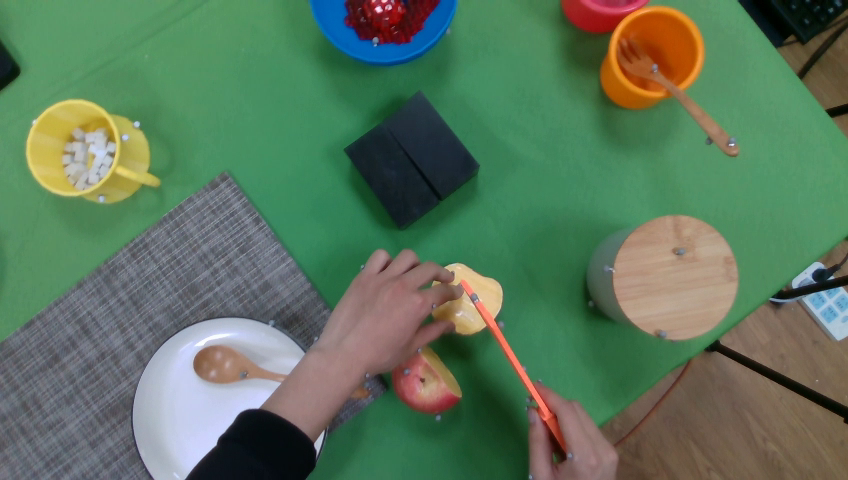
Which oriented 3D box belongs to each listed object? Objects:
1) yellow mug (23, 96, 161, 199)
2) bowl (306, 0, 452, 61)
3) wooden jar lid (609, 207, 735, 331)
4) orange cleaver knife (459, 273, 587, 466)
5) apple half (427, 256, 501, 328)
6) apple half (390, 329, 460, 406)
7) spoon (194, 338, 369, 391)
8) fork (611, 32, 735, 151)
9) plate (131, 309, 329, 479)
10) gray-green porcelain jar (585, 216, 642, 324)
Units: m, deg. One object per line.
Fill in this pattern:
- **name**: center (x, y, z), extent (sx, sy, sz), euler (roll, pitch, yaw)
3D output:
- **yellow mug**: center (-0.345, -0.091, 0.648), extent (0.131, 0.064, 0.100), euler (24, 89, 1)
- **bowl**: center (-0.042, -0.253, 0.633), extent (0.151, 0.077, 0.151), euler (0, 89, 2)
- **wooden jar lid**: center (0.215, 0.026, 0.532), extent (0.108, 0.020, 0.108), euler (0, 91, 1)
- **orange cleaver knife**: center (0.091, 0.119, 0.554), extent (0.012, 0.076, 0.213), euler (-33, 109, -1)
- **apple half**: center (0.039, 0.060, 0.643), extent (0.081, 0.033, 0.080), euler (1, 64, -1)
- **apple half**: center (-0.006, 0.138, 0.628), extent (0.053, 0.074, 0.081), euler (-40, 91, 5)
- **spoon**: center (-0.151, 0.137, 0.633), extent (0.193, 0.022, 0.041), euler (9, 83, 14)
- **fork**: center (0.236, -0.148, 0.585), extent (0.028, 0.019, 0.205), euler (-20, 45, 0)
- **plate**: center (-0.203, 0.177, 0.648), extent (0.209, 0.038, 0.209), euler (0, 89, 2)
- **gray-green porcelain jar**: center (0.220, 0.029, 0.594), extent (0.106, 0.126, 0.105), euler (0, 88, 3)
